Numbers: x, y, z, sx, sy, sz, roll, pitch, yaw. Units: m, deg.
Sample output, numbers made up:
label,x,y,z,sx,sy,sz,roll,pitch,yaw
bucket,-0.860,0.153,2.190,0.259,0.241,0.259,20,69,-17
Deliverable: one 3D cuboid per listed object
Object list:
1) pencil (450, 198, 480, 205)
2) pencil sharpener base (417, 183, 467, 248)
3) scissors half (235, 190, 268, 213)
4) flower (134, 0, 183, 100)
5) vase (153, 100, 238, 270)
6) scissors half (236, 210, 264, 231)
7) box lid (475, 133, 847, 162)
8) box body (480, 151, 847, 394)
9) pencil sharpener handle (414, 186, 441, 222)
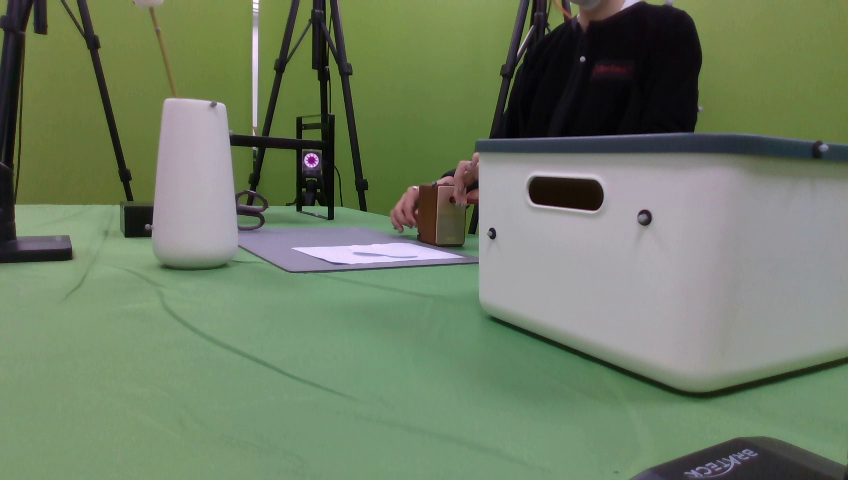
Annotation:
label,x,y,z,sx,sy,sz,roll,pitch,yaw
pencil,0.080,-0.060,0.951,0.012,0.012,0.193,-1,6,-27
pencil sharpener base,0.030,-0.045,1.048,0.061,0.107,0.076,-1,8,-26
scissors half,-0.363,-0.070,1.060,0.176,0.040,0.013,0,16,-23
flower,-0.282,-0.147,0.713,0.038,0.362,0.044,-23,24,-31
vase,-0.278,-0.066,0.736,0.098,0.200,0.098,2,9,0
scissors half,-0.369,-0.051,1.064,0.176,0.040,0.012,19,13,-27
box lid,0.255,-0.073,0.528,0.373,0.015,0.262,-2,8,-31
box body,0.254,0.002,0.539,0.366,0.160,0.253,-2,8,-31
pencil sharpener handle,0.002,-0.064,1.089,0.036,0.067,0.030,25,-4,-27
